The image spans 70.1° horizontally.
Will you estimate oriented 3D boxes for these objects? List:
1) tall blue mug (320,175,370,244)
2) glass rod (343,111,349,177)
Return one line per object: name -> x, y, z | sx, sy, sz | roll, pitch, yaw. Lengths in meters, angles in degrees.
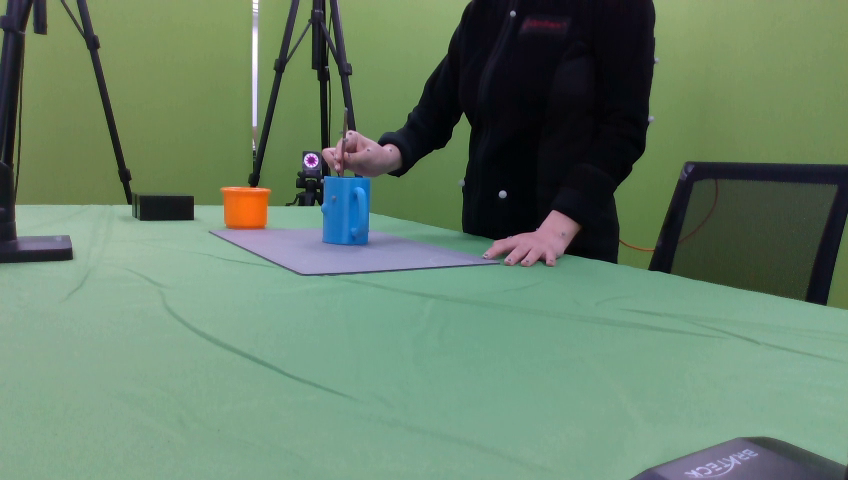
tall blue mug -> -0.116, -0.049, 0.991 | 0.106, 0.108, 0.078 | 7, 8, 33
glass rod -> -0.126, -0.112, 0.985 | 0.008, 0.199, 0.008 | -3, -5, 0
